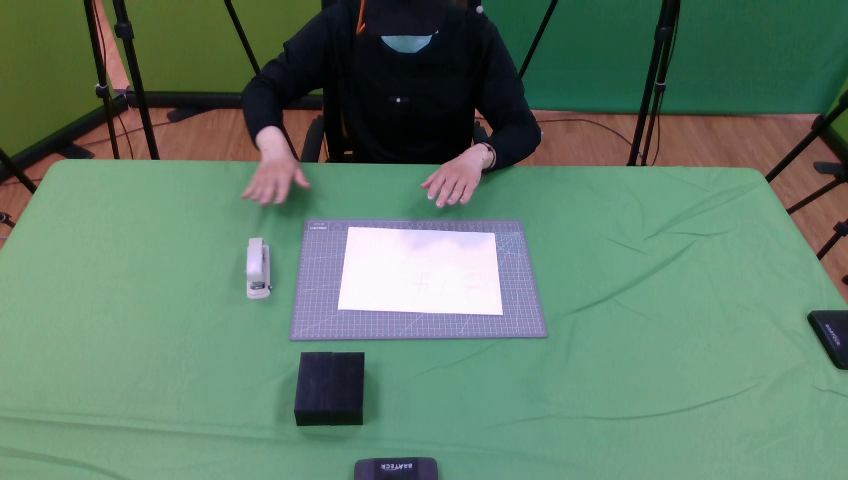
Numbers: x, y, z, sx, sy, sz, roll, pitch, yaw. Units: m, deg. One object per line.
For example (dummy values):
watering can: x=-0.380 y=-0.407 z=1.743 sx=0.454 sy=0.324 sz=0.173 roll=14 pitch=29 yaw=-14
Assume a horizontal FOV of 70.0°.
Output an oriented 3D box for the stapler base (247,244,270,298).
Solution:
stapler base: x=-0.308 y=0.050 z=1.123 sx=0.041 sy=0.024 sz=0.129 roll=-4 pitch=45 yaw=-12

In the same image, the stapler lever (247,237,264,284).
stapler lever: x=-0.307 y=0.031 z=1.106 sx=0.027 sy=0.040 sz=0.117 roll=-4 pitch=45 yaw=-12
